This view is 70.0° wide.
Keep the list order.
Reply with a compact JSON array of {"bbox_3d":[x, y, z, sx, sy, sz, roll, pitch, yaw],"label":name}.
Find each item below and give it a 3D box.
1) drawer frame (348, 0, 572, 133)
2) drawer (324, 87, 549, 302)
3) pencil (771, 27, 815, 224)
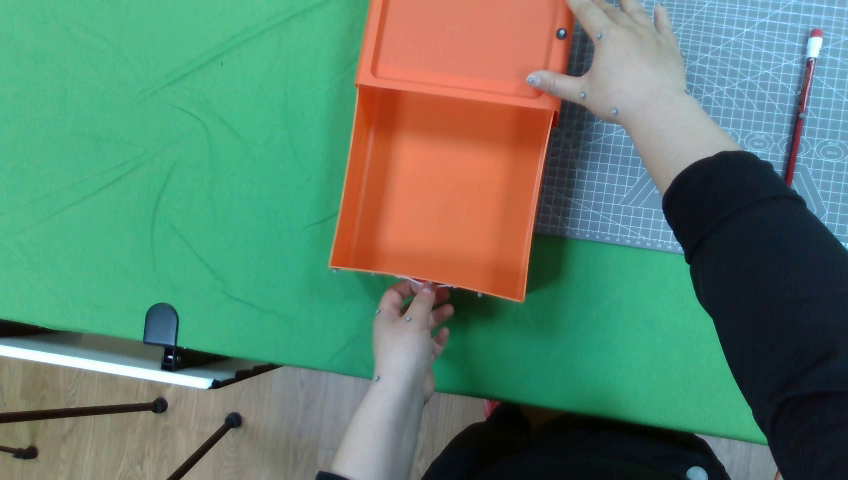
[{"bbox_3d":[0.044,-0.231,0.608,0.201,0.083,0.213,9,89,10],"label":"drawer frame"},{"bbox_3d":[0.016,-0.054,0.609,0.194,0.073,0.211,9,89,9],"label":"drawer"},{"bbox_3d":[0.359,-0.110,0.591,0.012,0.012,0.194,11,91,10],"label":"pencil"}]
